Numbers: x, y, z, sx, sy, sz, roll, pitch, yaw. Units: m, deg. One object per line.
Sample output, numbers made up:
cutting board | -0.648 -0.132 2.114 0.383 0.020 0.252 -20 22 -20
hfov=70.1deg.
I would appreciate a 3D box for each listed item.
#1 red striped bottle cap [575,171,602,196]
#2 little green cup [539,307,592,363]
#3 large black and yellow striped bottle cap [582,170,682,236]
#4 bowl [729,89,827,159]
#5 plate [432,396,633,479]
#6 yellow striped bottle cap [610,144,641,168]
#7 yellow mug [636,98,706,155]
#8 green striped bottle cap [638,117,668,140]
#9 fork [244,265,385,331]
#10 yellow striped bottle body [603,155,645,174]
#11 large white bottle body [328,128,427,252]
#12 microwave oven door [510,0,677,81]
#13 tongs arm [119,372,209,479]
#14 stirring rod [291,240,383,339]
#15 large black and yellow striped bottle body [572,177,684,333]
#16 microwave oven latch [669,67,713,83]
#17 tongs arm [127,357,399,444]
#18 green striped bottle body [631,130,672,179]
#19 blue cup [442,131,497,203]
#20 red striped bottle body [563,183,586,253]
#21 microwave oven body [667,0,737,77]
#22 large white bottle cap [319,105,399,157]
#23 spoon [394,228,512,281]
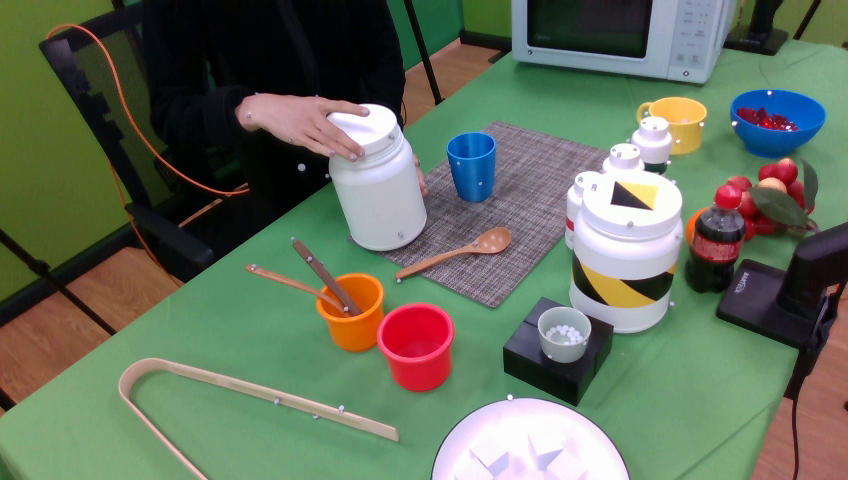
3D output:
red striped bottle cap | 0.242 -0.081 0.876 0.044 0.018 0.044 -5 44 5
little green cup | 0.168 0.115 0.721 0.061 0.039 0.061 -4 42 4
large black and yellow striped bottle cap | 0.252 -0.048 0.735 0.115 0.019 0.114 -3 40 3
bowl | 0.615 -0.197 1.069 0.151 0.077 0.150 -5 40 5
plate | 0.112 0.261 0.634 0.209 0.038 0.208 -5 40 4
yellow striped bottle cap | 0.307 -0.128 0.923 0.044 0.019 0.044 -6 39 5
yellow mug | 0.453 -0.218 1.129 0.100 0.064 0.129 -35 46 -26
green striped bottle cap | 0.369 -0.180 0.974 0.044 0.020 0.044 -4 41 4
fork | -0.142 0.078 0.806 0.209 0.018 0.028 30 32 -23
yellow striped bottle body | 0.313 -0.089 0.956 0.063 0.121 0.062 -4 39 4
large white bottle body | -0.073 -0.087 0.943 0.130 0.185 0.130 -7 42 7
microwave oven door | 0.354 -0.478 1.290 0.353 0.245 0.039 15 45 25
tongs arm | -0.258 0.257 0.700 0.384 0.028 0.028 24 55 34
stirring rod | -0.118 0.068 0.825 0.176 0.006 0.014 48 59 -3
large black and yellow striped bottle body | 0.262 0.017 0.788 0.131 0.185 0.130 -5 40 4
microwave oven latch | 0.556 -0.349 1.261 0.078 0.029 0.030 16 46 27
tongs arm | -0.213 0.205 0.755 0.382 0.026 0.051 12 46 23
green striped bottle body | 0.375 -0.140 1.007 0.063 0.120 0.063 -5 40 4
blue cup | 0.085 -0.121 1.039 0.092 0.101 0.092 -5 41 5
red striped bottle body | 0.246 -0.041 0.910 0.063 0.120 0.062 -2 38 2
microwave oven body | 0.462 -0.552 1.368 0.439 0.261 0.326 14 45 26
large white bottle cap | -0.093 -0.159 0.872 0.115 0.018 0.114 -4 42 4
spoon | 0.045 0.024 0.935 0.194 0.022 0.041 -18 66 -11
